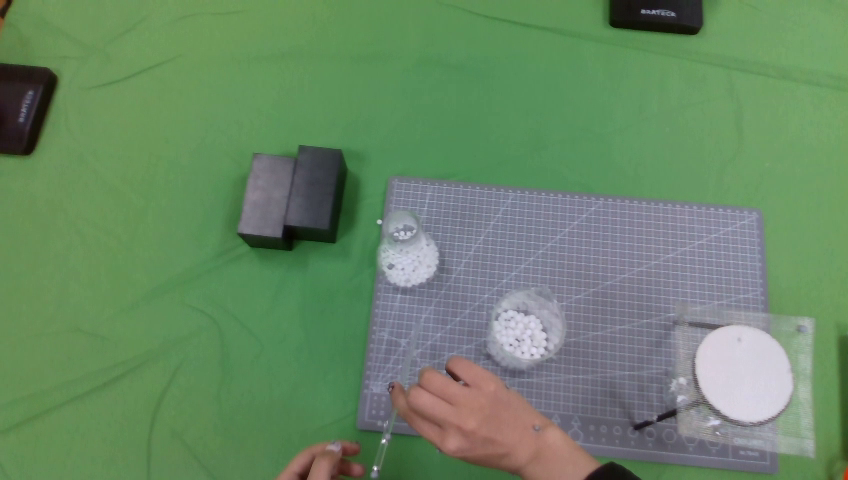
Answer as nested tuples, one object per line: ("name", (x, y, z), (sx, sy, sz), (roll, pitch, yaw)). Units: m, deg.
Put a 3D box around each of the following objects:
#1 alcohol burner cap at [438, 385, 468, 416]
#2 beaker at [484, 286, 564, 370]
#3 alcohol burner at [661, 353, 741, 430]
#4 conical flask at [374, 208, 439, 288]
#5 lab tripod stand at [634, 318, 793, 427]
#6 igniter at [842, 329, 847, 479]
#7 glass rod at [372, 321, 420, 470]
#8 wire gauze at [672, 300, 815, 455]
("alcohol burner cap", (0.031, 0.170, 0.644), (0.034, 0.048, 0.033), (0, 73, 1))
("beaker", (0.103, 0.095, 0.636), (0.074, 0.101, 0.083), (28, 74, 9))
("alcohol burner", (0.285, 0.151, 0.609), (0.078, 0.120, 0.077), (-1, 72, 3))
("conical flask", (-0.021, 0.004, 0.654), (0.075, 0.122, 0.075), (0, 72, 1))
("lab tripod stand", (0.284, 0.141, 0.602), (0.148, 0.132, 0.147), (0, 74, 1))
("igniter", (0.463, 0.227, 0.631), (0.057, 0.025, 0.275), (13, 73, -7))
("glass rod", (-0.023, 0.135, 0.568), (0.008, 0.008, 0.198), (11, 30, 4))
("wire gauze", (0.284, 0.119, 0.538), (0.125, 0.011, 0.121), (8, 74, 4))
